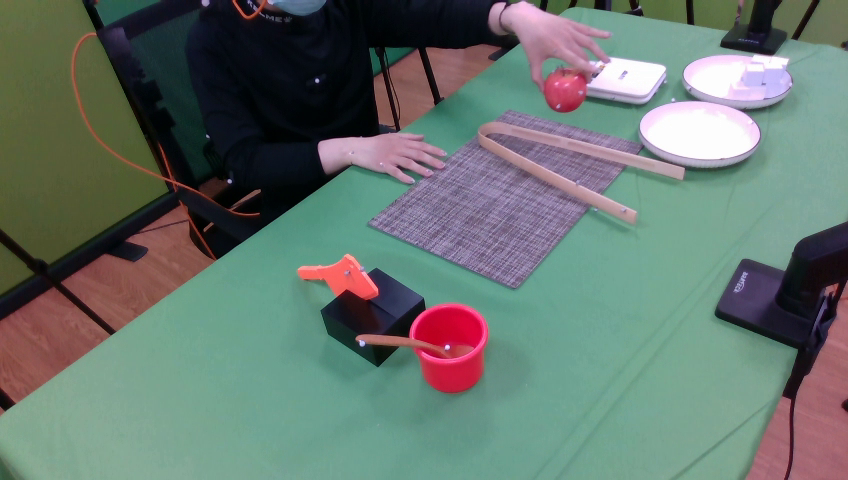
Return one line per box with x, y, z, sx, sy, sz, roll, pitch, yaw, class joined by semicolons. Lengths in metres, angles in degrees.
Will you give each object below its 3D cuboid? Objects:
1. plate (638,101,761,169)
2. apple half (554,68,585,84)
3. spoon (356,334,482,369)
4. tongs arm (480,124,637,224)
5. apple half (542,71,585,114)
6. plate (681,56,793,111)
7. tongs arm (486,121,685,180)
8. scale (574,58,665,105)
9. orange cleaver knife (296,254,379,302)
0.500;-0.189;1.111;0.209;0.038;0.208;-4;41;4;plate
0.275;-0.295;1.153;0.081;0.081;0.033;19;49;27;apple half
-0.001;0.130;0.731;0.195;0.021;0.041;21;28;-39;spoon
0.228;-0.128;1.081;0.051;0.026;0.381;-33;46;-26;tongs arm
0.255;-0.272;1.129;0.080;0.075;0.053;20;49;27;apple half
0.636;-0.317;1.239;0.207;0.039;0.206;-4;40;4;plate
0.287;-0.170;1.124;0.384;0.028;0.028;21;52;29;tongs arm
0.407;-0.348;1.314;0.199;0.032;0.149;19;47;28;scale
-0.129;0.059;0.874;0.012;0.077;0.210;-39;16;-30;orange cleaver knife
